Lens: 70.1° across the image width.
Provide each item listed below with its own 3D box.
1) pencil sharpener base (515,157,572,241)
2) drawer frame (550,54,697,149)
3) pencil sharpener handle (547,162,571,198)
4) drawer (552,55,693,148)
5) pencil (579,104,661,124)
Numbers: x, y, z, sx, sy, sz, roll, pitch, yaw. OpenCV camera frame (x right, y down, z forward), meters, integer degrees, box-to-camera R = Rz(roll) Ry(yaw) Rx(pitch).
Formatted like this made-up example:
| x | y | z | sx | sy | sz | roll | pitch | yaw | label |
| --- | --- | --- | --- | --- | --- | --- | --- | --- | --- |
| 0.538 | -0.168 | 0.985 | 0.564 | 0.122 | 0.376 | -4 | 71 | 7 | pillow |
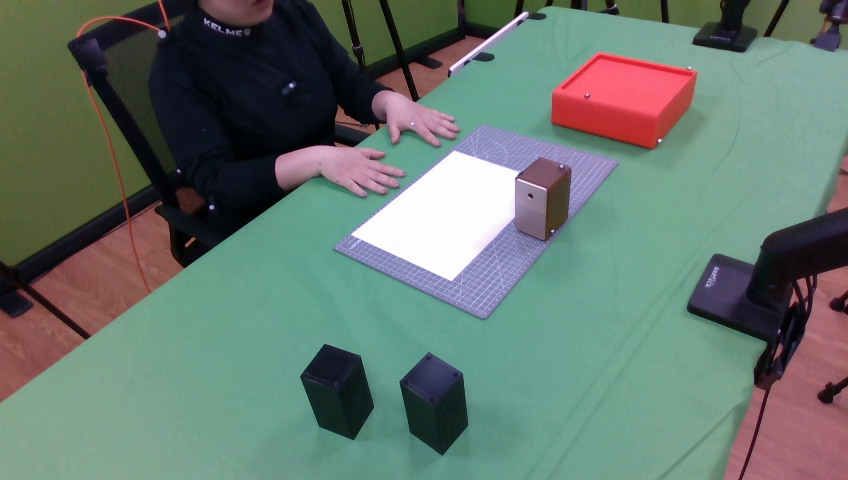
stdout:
| x | y | z | sx | sy | sz | roll | pitch | yaw | label |
| --- | --- | --- | --- | --- | --- | --- | --- | --- | --- |
| 0.188 | -0.065 | 0.948 | 0.061 | 0.107 | 0.077 | 24 | 49 | 33 | pencil sharpener base |
| 0.391 | -0.280 | 1.194 | 0.212 | 0.083 | 0.202 | 23 | 48 | 30 | drawer frame |
| 0.221 | -0.101 | 0.968 | 0.035 | 0.068 | 0.031 | 19 | 46 | 37 | pencil sharpener handle |
| 0.389 | -0.278 | 1.196 | 0.210 | 0.073 | 0.195 | 24 | 49 | 30 | drawer |
| 0.395 | -0.255 | 1.212 | 0.195 | 0.012 | 0.012 | -14 | 40 | -17 | pencil |
